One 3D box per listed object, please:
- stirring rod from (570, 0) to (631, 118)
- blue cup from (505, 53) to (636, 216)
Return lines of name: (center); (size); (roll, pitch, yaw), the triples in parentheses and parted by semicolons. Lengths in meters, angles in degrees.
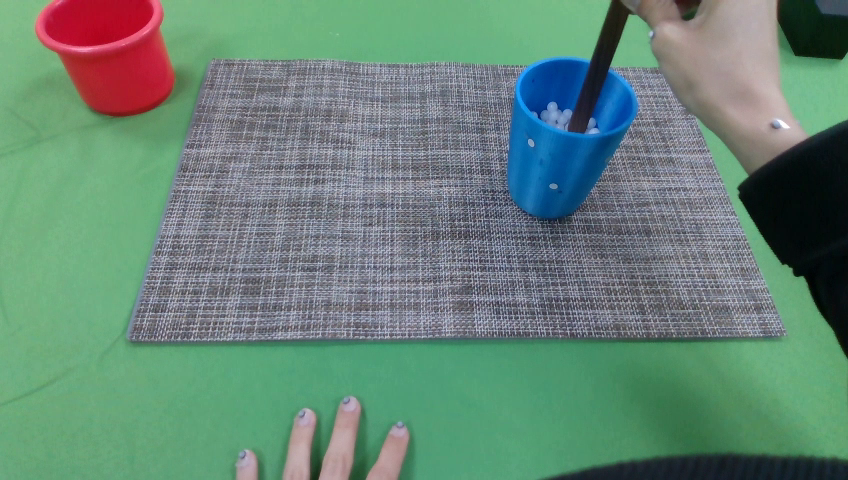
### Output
stirring rod: (0.120, -0.138, 0.391); (0.014, 0.177, 0.005); (11, 52, 1)
blue cup: (0.100, -0.072, 0.455); (0.093, 0.101, 0.091); (3, 53, -3)
